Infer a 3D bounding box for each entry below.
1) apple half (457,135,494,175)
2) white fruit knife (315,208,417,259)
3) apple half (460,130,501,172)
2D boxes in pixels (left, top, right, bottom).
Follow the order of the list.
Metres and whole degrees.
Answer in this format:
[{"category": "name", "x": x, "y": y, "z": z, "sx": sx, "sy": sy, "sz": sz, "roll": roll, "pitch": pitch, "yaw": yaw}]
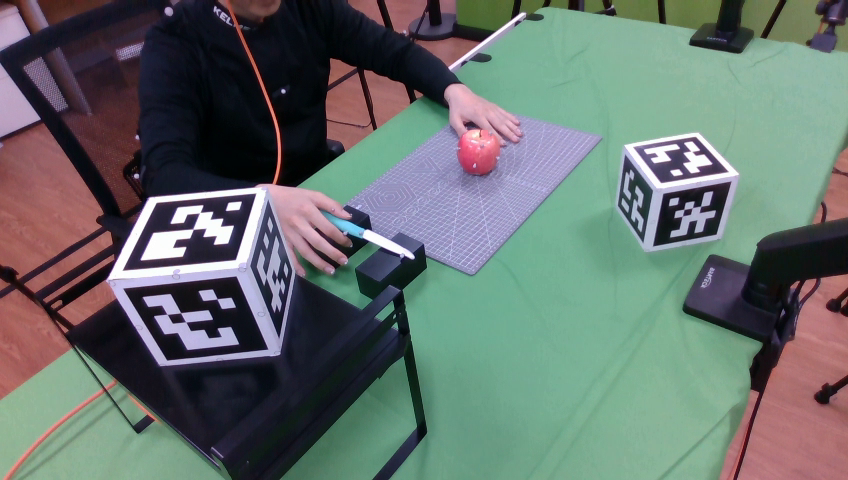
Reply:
[{"category": "apple half", "x": 0.086, "y": -0.145, "z": 1.083, "sx": 0.080, "sy": 0.081, "sz": 0.033, "roll": 22, "pitch": 44, "yaw": 29}, {"category": "white fruit knife", "x": -0.094, "y": -0.010, "z": 0.925, "sx": 0.206, "sy": 0.016, "sz": 0.027, "roll": 23, "pitch": 39, "yaw": 30}, {"category": "apple half", "x": 0.109, "y": -0.166, "z": 1.106, "sx": 0.080, "sy": 0.075, "sz": 0.053, "roll": 18, "pitch": 42, "yaw": 33}]
